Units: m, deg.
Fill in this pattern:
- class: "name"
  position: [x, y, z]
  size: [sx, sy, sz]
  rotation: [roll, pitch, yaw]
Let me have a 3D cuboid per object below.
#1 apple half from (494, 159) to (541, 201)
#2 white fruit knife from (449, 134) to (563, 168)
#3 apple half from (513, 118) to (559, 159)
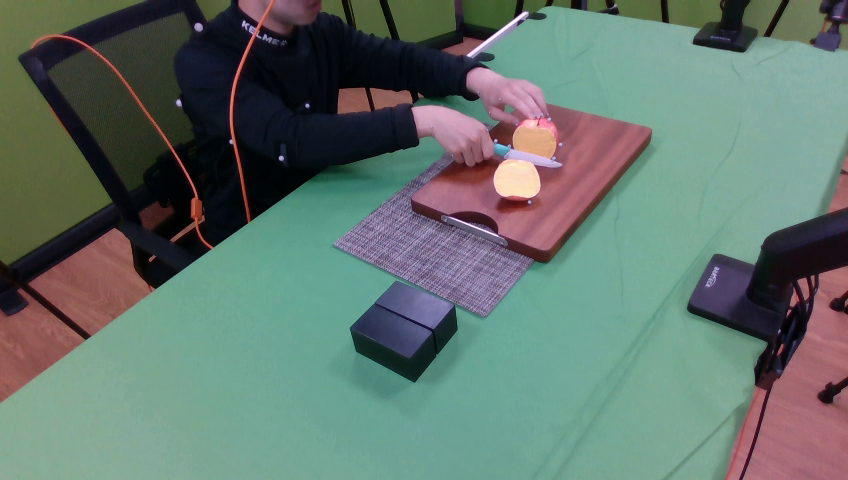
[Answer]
- class: "apple half"
  position: [0.154, -0.095, 0.999]
  size: [0.081, 0.033, 0.081]
  rotation: [-1, 64, 2]
- class: "white fruit knife"
  position: [0.144, -0.156, 1.070]
  size: [0.207, 0.027, 0.016]
  rotation: [15, 42, 12]
- class: "apple half"
  position: [0.201, -0.179, 1.066]
  size: [0.080, 0.075, 0.053]
  rotation: [8, 37, 23]
